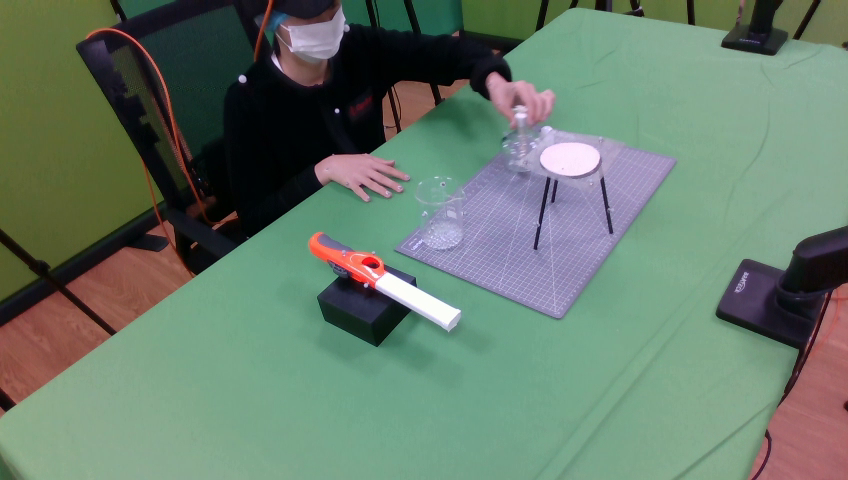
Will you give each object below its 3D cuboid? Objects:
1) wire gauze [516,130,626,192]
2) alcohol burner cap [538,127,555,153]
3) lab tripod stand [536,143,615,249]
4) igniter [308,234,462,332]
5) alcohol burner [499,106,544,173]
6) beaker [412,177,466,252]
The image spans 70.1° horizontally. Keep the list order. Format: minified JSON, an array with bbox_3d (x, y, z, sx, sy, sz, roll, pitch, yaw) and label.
[{"bbox_3d":[0.216,-0.124,0.892,0.124,0.011,0.122,22,49,31],"label":"wire gauze"},{"bbox_3d":[0.234,-0.191,1.147,0.034,0.048,0.033,-5,39,5],"label":"alcohol burner cap"},{"bbox_3d":[0.224,-0.069,0.930,0.148,0.132,0.147,-4,42,4],"label":"lab tripod stand"},{"bbox_3d":[-0.066,0.054,0.846,0.274,0.025,0.057,26,49,29],"label":"igniter"},{"bbox_3d":[0.170,-0.178,1.055,0.078,0.119,0.077,-5,39,5],"label":"alcohol burner"},{"bbox_3d":[0.029,-0.038,0.952,0.083,0.101,0.074,9,43,18],"label":"beaker"}]
